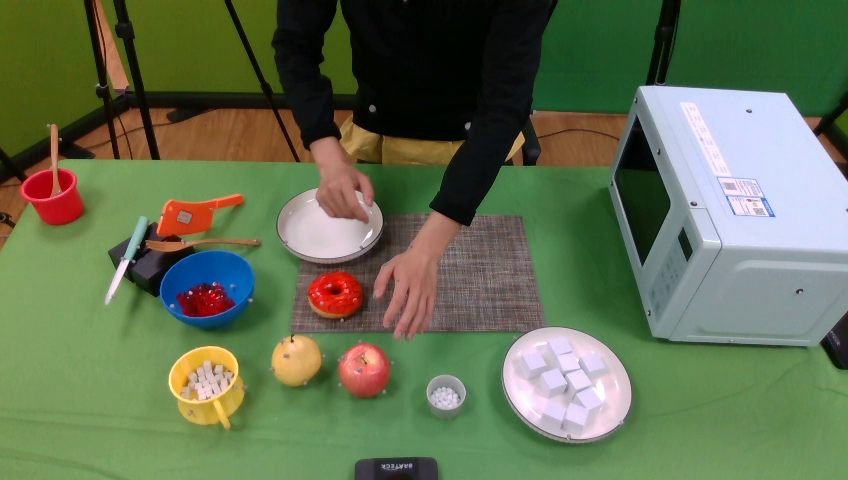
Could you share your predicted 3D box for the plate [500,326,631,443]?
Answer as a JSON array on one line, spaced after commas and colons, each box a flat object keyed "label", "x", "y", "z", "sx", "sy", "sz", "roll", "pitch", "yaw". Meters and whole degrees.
[{"label": "plate", "x": 0.224, "y": 0.234, "z": 0.978, "sx": 0.208, "sy": 0.039, "sz": 0.206, "roll": 2, "pitch": 46, "yaw": -2}]

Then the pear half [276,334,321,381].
[{"label": "pear half", "x": -0.195, "y": 0.172, "z": 0.957, "sx": 0.076, "sy": 0.110, "sz": 0.056, "roll": 28, "pitch": 51, "yaw": 16}]

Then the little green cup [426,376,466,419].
[{"label": "little green cup", "x": 0.033, "y": 0.248, "z": 0.950, "sx": 0.061, "sy": 0.039, "sz": 0.061, "roll": 2, "pitch": 46, "yaw": -2}]

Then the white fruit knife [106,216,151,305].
[{"label": "white fruit knife", "x": -0.519, "y": 0.032, "z": 1.066, "sx": 0.027, "sy": 0.016, "sz": 0.206, "roll": -18, "pitch": 45, "yaw": 19}]

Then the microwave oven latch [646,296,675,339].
[{"label": "microwave oven latch", "x": 0.412, "y": 0.134, "z": 1.061, "sx": 0.030, "sy": 0.029, "sz": 0.078, "roll": 4, "pitch": 45, "yaw": 1}]

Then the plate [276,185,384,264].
[{"label": "plate", "x": -0.184, "y": -0.027, "z": 1.195, "sx": 0.209, "sy": 0.038, "sz": 0.208, "roll": 2, "pitch": 46, "yaw": -2}]

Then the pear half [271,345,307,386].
[{"label": "pear half", "x": -0.216, "y": 0.200, "z": 0.943, "sx": 0.070, "sy": 0.088, "sz": 0.031, "roll": 27, "pitch": 49, "yaw": 15}]

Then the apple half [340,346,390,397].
[{"label": "apple half", "x": -0.086, "y": 0.214, "z": 0.950, "sx": 0.081, "sy": 0.075, "sz": 0.053, "roll": -30, "pitch": 58, "yaw": -32}]

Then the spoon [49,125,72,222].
[{"label": "spoon", "x": -0.717, "y": -0.131, "z": 1.189, "sx": 0.042, "sy": 0.021, "sz": 0.193, "roll": -3, "pitch": 90, "yaw": -7}]

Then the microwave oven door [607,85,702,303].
[{"label": "microwave oven door", "x": 0.423, "y": -0.094, "z": 1.140, "sx": 0.039, "sy": 0.245, "sz": 0.353, "roll": 2, "pitch": 46, "yaw": -1}]

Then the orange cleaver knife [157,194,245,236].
[{"label": "orange cleaver knife", "x": -0.427, "y": -0.050, "z": 1.175, "sx": 0.012, "sy": 0.077, "sz": 0.211, "roll": 23, "pitch": 19, "yaw": 20}]

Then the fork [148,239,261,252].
[{"label": "fork", "x": -0.399, "y": 0.007, "z": 1.118, "sx": 0.208, "sy": 0.019, "sz": 0.028, "roll": -4, "pitch": 36, "yaw": -36}]

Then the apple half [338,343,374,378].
[{"label": "apple half", "x": -0.112, "y": 0.193, "z": 0.968, "sx": 0.081, "sy": 0.081, "sz": 0.032, "roll": -32, "pitch": 59, "yaw": -29}]

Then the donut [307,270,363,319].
[{"label": "donut", "x": -0.157, "y": 0.096, "z": 1.073, "sx": 0.099, "sy": 0.048, "sz": 0.098, "roll": 4, "pitch": 46, "yaw": -4}]

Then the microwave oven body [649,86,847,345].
[{"label": "microwave oven body", "x": 0.568, "y": -0.053, "z": 1.118, "sx": 0.326, "sy": 0.261, "sz": 0.439, "roll": 2, "pitch": 45, "yaw": -1}]

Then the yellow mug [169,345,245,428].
[{"label": "yellow mug", "x": -0.322, "y": 0.230, "z": 0.922, "sx": 0.100, "sy": 0.064, "sz": 0.130, "roll": -24, "pitch": 53, "yaw": -25}]

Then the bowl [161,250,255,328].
[{"label": "bowl", "x": -0.362, "y": 0.097, "z": 1.040, "sx": 0.151, "sy": 0.077, "sz": 0.150, "roll": 2, "pitch": 45, "yaw": -2}]
